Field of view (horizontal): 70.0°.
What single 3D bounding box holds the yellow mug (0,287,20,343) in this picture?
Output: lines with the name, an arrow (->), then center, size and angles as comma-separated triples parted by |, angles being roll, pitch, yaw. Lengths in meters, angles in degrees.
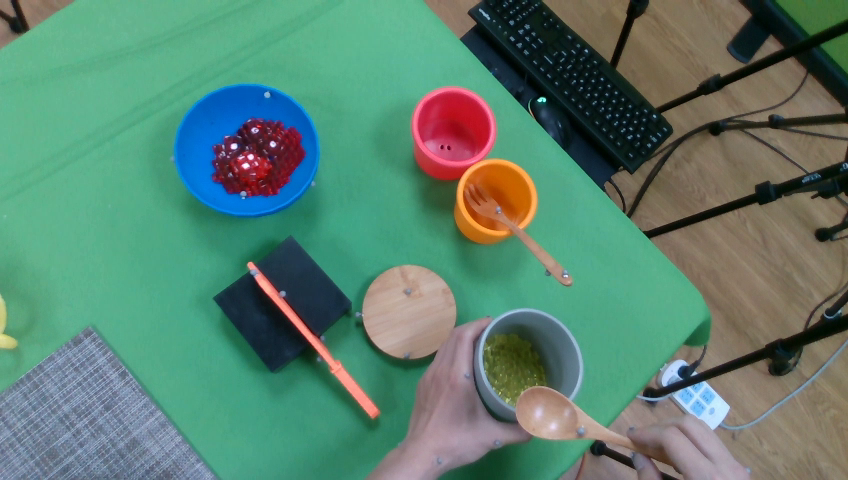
yellow mug -> -0.479, 0.079, 0.616 | 0.131, 0.064, 0.099 | 20, 76, -3

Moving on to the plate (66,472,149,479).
plate -> -0.319, 0.334, 0.590 | 0.209, 0.038, 0.208 | 2, 78, -7

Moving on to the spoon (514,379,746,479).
spoon -> 0.167, 0.161, 0.496 | 0.193, 0.022, 0.041 | 19, 75, 9

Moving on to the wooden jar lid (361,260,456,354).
wooden jar lid -> -0.018, 0.077, 0.696 | 0.108, 0.021, 0.108 | 1, 79, -6

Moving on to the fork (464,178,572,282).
fork -> 0.099, -0.015, 0.664 | 0.028, 0.019, 0.205 | -23, 38, -13

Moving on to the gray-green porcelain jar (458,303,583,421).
gray-green porcelain jar -> 0.094, 0.134, 0.638 | 0.106, 0.127, 0.105 | 3, 68, -8

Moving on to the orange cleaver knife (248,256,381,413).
orange cleaver knife -> -0.117, 0.102, 0.647 | 0.012, 0.076, 0.213 | -39, 109, -11

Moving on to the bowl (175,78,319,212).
bowl -> -0.191, -0.096, 0.682 | 0.151, 0.077, 0.150 | 2, 78, -7
